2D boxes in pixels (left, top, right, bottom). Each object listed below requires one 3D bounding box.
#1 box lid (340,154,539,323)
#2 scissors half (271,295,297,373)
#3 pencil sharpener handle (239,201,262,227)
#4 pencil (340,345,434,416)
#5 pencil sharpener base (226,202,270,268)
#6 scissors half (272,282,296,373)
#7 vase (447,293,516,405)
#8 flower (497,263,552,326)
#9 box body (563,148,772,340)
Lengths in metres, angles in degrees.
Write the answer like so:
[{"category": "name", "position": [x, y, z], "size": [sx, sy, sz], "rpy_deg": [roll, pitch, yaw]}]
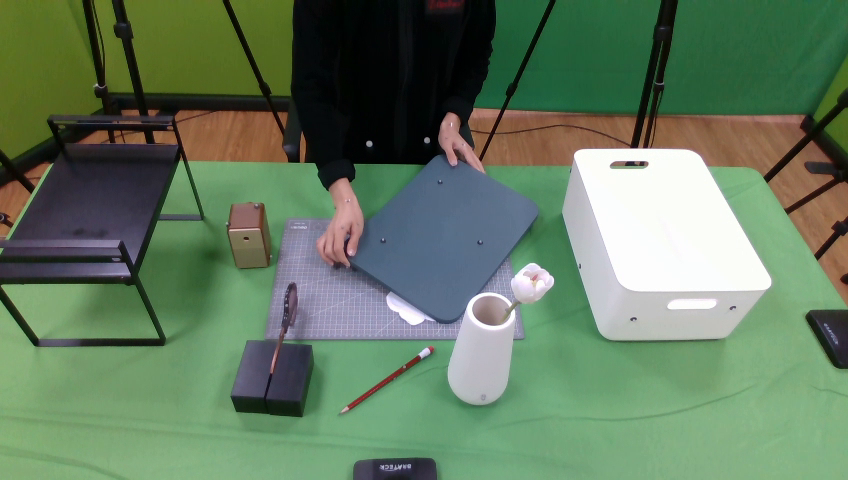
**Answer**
[{"category": "box lid", "position": [0.040, -0.018, 1.195], "size": [0.262, 0.015, 0.370], "rpy_deg": [31, 54, 16]}, {"category": "scissors half", "position": [-0.230, 0.154, 1.000], "size": [0.013, 0.040, 0.174], "rpy_deg": [0, 34, 2]}, {"category": "pencil sharpener handle", "position": [-0.325, -0.055, 1.150], "size": [0.036, 0.068, 0.030], "rpy_deg": [-13, 46, 3]}, {"category": "pencil", "position": [-0.058, 0.228, 0.984], "size": [0.194, 0.012, 0.012], "rpy_deg": [-32, 56, -28]}, {"category": "pencil sharpener base", "position": [-0.323, -0.010, 1.123], "size": [0.061, 0.107, 0.076], "rpy_deg": [-3, 46, -7]}, {"category": "scissors half", "position": [-0.229, 0.139, 0.986], "size": [0.013, 0.040, 0.174], "rpy_deg": [4, 51, -2]}, {"category": "vase", "position": [0.091, 0.169, 0.921], "size": [0.098, 0.201, 0.097], "rpy_deg": [3, 47, -3]}, {"category": "flower", "position": [0.103, 0.121, 0.853], "size": [0.044, 0.363, 0.038], "rpy_deg": [-2, 64, -10]}, {"category": "box body", "position": [0.421, 0.003, 1.130], "size": [0.254, 0.161, 0.361], "rpy_deg": [0, 46, -5]}]
